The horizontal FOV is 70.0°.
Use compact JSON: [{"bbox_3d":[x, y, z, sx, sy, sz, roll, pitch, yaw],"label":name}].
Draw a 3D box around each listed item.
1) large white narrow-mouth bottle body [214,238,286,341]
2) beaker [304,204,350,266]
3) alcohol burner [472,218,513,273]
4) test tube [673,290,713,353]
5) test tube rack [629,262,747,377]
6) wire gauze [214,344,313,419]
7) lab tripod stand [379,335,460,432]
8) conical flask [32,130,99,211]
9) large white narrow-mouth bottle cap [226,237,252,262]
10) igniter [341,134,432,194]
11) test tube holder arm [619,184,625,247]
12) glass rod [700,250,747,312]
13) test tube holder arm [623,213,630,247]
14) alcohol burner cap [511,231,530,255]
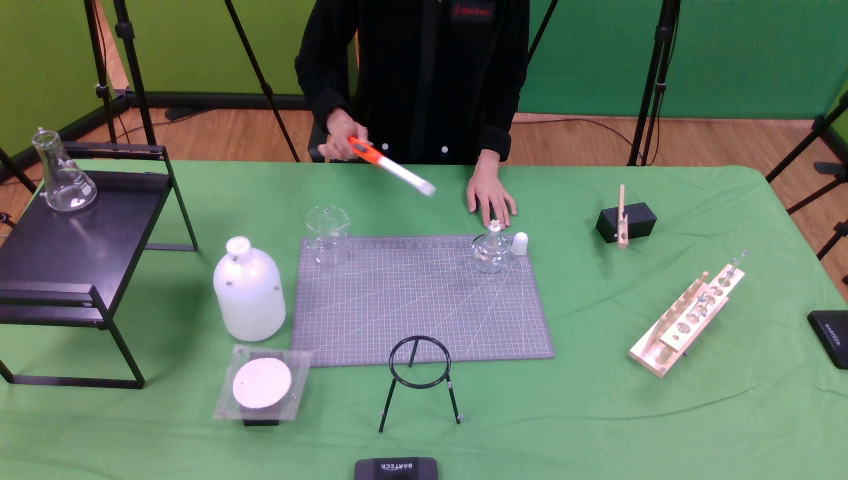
[{"bbox_3d":[-0.285,0.073,0.986,0.102,0.195,0.101,2,46,-2],"label":"large white narrow-mouth bottle body"},{"bbox_3d":[-0.178,-0.006,1.132,0.084,0.101,0.073,4,46,-1],"label":"beaker"},{"bbox_3d":[0.128,0.005,1.132,0.078,0.120,0.077,0,47,0],"label":"alcohol burner"},{"bbox_3d":[0.429,0.135,0.981,0.017,0.151,0.017,4,44,-4],"label":"test tube"},{"bbox_3d":[0.464,0.126,1.061,0.242,0.085,0.066,-34,56,-31],"label":"test tube rack"},{"bbox_3d":[-0.241,0.213,0.915,0.121,0.011,0.124,5,46,1],"label":"wire gauze"},{"bbox_3d":[-0.011,0.214,0.912,0.148,0.132,0.147,1,45,0],"label":"lab tripod stand"},{"bbox_3d":[-0.565,-0.111,0.944,0.075,0.122,0.075,2,46,-2],"label":"conical flask"},{"bbox_3d":[-0.282,0.014,0.923,0.038,0.024,0.037,2,46,-2],"label":"large white narrow-mouth bottle cap"},{"bbox_3d":[-0.075,-0.137,1.050,0.025,0.057,0.275,-55,42,-1],"label":"igniter"},{"bbox_3d":[0.396,-0.053,1.210,0.013,0.015,0.177,14,46,2],"label":"test tube holder arm"},{"bbox_3d":[0.500,0.075,1.021,0.008,0.201,0.008,0,54,1],"label":"glass rod"},{"bbox_3d":[0.393,-0.020,1.179,0.010,0.015,0.087,14,46,1],"label":"test tube holder arm"},{"bbox_3d":[0.191,0.003,1.188,0.034,0.048,0.033,2,46,-2],"label":"alcohol burner cap"}]
